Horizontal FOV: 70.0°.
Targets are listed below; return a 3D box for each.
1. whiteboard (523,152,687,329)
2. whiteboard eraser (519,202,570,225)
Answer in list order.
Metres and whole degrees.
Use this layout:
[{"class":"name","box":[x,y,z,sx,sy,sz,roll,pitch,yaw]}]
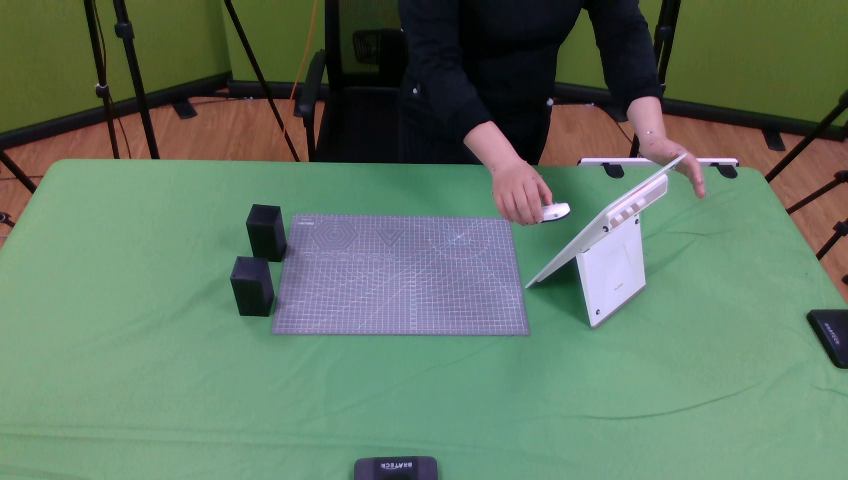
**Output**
[{"class":"whiteboard","box":[0.346,0.025,1.046,0.217,0.306,0.143,-30,74,-29]},{"class":"whiteboard eraser","box":[0.207,-0.046,1.046,0.041,0.019,0.101,-38,18,-35]}]
